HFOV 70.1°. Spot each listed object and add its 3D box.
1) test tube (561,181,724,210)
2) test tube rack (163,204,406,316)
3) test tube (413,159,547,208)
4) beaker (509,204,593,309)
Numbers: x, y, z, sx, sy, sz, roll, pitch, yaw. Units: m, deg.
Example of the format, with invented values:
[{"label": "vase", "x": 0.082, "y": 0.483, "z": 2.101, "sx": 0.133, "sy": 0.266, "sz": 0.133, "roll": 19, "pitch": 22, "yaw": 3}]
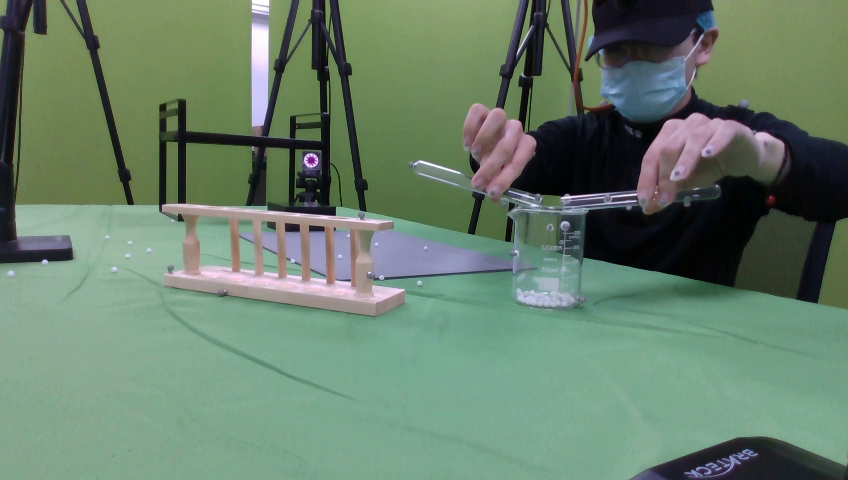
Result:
[{"label": "test tube", "x": 0.211, "y": -0.043, "z": 0.590, "sx": 0.150, "sy": 0.017, "sz": 0.017, "roll": -4, "pitch": 6, "yaw": 14}, {"label": "test tube rack", "x": -0.141, "y": 0.013, "z": 0.601, "sx": 0.241, "sy": 0.085, "sz": 0.067, "roll": 5, "pitch": 8, "yaw": 21}, {"label": "test tube", "x": 0.057, "y": -0.061, "z": 0.644, "sx": 0.150, "sy": 0.017, "sz": 0.017, "roll": 18, "pitch": 12, "yaw": 18}, {"label": "beaker", "x": 0.126, "y": 0.015, "z": 0.613, "sx": 0.084, "sy": 0.100, "sz": 0.074, "roll": 1, "pitch": 7, "yaw": -5}]
